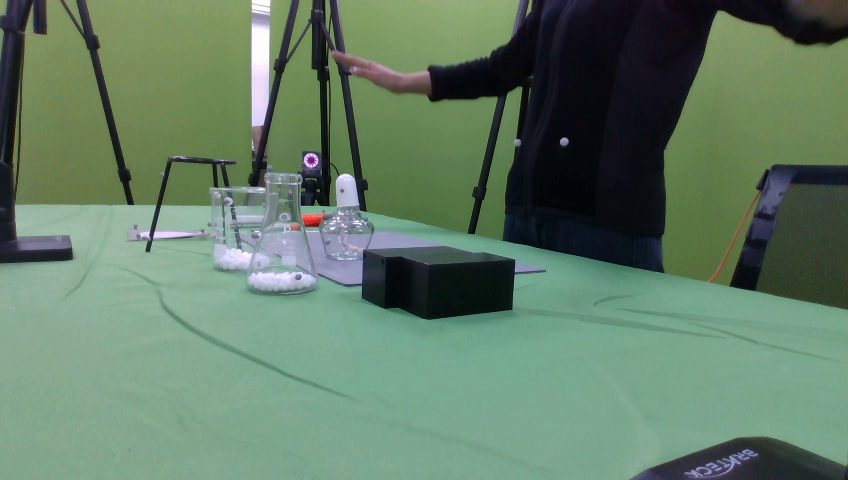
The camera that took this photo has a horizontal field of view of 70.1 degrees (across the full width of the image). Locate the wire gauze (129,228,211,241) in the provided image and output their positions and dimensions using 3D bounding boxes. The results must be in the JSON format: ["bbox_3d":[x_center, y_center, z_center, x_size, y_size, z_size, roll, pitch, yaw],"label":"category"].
[{"bbox_3d":[-0.419,-0.010,0.999,0.122,0.011,0.124,0,6,-25],"label":"wire gauze"}]

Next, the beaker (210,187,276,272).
[{"bbox_3d":[-0.224,-0.014,0.738,0.084,0.100,0.074,4,7,16],"label":"beaker"}]

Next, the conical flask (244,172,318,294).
[{"bbox_3d":[-0.147,-0.009,0.628,0.075,0.122,0.075,2,7,0],"label":"conical flask"}]

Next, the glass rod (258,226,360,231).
[{"bbox_3d":[-0.215,-0.022,1.151,0.201,0.008,0.008,-2,8,-27],"label":"glass rod"}]

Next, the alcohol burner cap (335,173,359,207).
[{"bbox_3d":[-0.108,-0.068,0.829,0.034,0.048,0.034,-7,4,1],"label":"alcohol burner cap"}]

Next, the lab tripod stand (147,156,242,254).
[{"bbox_3d":[-0.310,-0.050,0.858,0.148,0.131,0.148,4,6,0],"label":"lab tripod stand"}]

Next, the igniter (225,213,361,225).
[{"bbox_3d":[-0.257,-0.042,1.221,0.278,0.025,0.057,-2,-2,-32],"label":"igniter"}]

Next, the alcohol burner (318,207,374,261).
[{"bbox_3d":[-0.107,-0.032,0.833,0.078,0.119,0.078,1,6,0],"label":"alcohol burner"}]
